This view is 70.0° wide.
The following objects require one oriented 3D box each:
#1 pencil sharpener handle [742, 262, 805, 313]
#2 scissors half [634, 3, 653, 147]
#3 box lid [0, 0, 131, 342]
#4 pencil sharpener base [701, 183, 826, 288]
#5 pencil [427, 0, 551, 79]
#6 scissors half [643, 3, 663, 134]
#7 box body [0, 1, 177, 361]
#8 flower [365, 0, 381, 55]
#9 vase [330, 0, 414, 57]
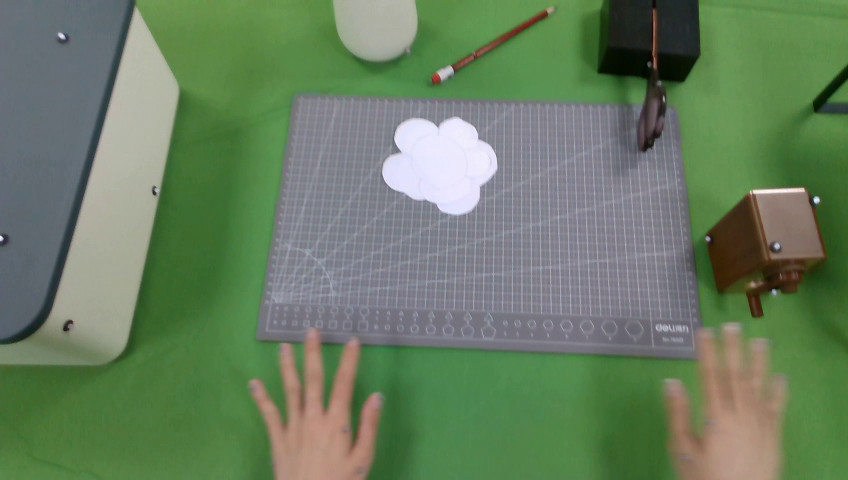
[{"bbox_3d":[0.323,0.045,0.560,0.036,0.068,0.030,3,68,-13],"label":"pencil sharpener handle"},{"bbox_3d":[0.250,-0.187,0.684,0.013,0.040,0.174,7,82,0],"label":"scissors half"},{"bbox_3d":[-0.416,-0.095,0.530,0.263,0.015,0.369,1,69,1],"label":"box lid"},{"bbox_3d":[0.326,0.002,0.590,0.061,0.108,0.076,-2,69,0],"label":"pencil sharpener base"},{"bbox_3d":[0.083,-0.248,0.742,0.194,0.012,0.012,-35,72,-13],"label":"pencil"},{"bbox_3d":[0.249,-0.194,0.664,0.013,0.040,0.174,5,64,5],"label":"scissors half"},{"bbox_3d":[-0.414,-0.066,0.599,0.254,0.161,0.361,1,69,1],"label":"box body"},{"bbox_3d":[-0.073,-0.338,0.589,0.044,0.365,0.038,-4,51,3],"label":"flower"},{"bbox_3d":[-0.064,-0.295,0.661,0.098,0.201,0.097,-1,68,2],"label":"vase"}]
